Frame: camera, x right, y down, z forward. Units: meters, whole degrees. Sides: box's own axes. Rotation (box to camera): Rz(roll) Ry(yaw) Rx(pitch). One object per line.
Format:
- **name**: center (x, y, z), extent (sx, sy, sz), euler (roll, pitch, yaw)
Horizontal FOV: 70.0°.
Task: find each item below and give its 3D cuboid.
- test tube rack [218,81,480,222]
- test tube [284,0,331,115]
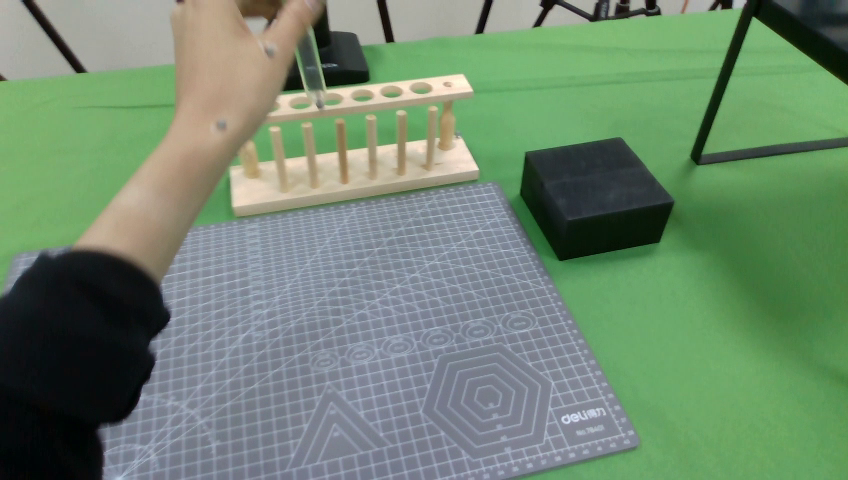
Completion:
- **test tube rack**: center (-0.068, -0.089, 0.595), extent (0.243, 0.086, 0.066), euler (-10, 44, -11)
- **test tube**: center (-0.077, -0.135, 0.389), extent (0.017, 0.151, 0.017), euler (0, 59, 0)
